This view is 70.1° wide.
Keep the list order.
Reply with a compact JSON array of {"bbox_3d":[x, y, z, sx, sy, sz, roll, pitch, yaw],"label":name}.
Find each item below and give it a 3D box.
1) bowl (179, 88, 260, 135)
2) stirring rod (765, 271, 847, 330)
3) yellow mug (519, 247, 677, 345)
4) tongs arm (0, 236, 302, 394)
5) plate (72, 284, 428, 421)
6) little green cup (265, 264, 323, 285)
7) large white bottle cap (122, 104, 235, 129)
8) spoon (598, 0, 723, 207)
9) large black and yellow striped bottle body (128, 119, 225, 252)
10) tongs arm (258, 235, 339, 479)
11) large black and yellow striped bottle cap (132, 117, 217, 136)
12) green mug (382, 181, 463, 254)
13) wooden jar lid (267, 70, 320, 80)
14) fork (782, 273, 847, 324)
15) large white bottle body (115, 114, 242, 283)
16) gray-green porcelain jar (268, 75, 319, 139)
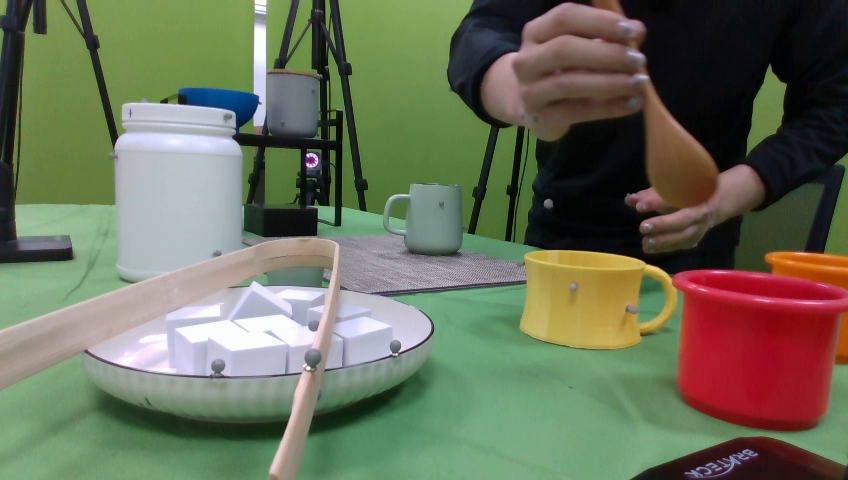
[{"bbox_3d":[-0.400,-0.248,1.188,0.151,0.077,0.151,3,6,0],"label":"bowl"},{"bbox_3d":[0.352,0.020,0.481,0.176,0.006,0.014,-40,-7,17],"label":"stirring rod"},{"bbox_3d":[0.148,0.045,0.513,0.131,0.064,0.100,3,7,0],"label":"yellow mug"},{"bbox_3d":[-0.157,0.038,0.347,0.028,0.028,0.388,-3,8,11],"label":"tongs arm"},{"bbox_3d":[-0.102,0.067,0.381,0.208,0.039,0.207,3,7,0],"label":"plate"},{"bbox_3d":[-0.134,0.033,0.628,0.061,0.038,0.061,3,7,0],"label":"little green cup"},{"bbox_3d":[-0.266,-0.135,0.663,0.115,0.018,0.115,3,7,0],"label":"large white bottle cap"},{"bbox_3d":[0.137,-0.106,0.382,0.041,0.194,0.022,-21,9,39],"label":"spoon"},{"bbox_3d":[-0.361,-0.081,0.887,0.131,0.184,0.130,2,8,0],"label":"large black and yellow striped bottle body"},{"bbox_3d":[-0.074,0.040,0.345,0.051,0.026,0.384,-2,10,-3],"label":"tongs arm"},{"bbox_3d":[-0.359,-0.164,0.875,0.115,0.019,0.115,2,6,0],"label":"large black and yellow striped bottle cap"},{"bbox_3d":[-0.001,-0.036,0.922,0.126,0.105,0.092,0,8,-16],"label":"green mug"},{"bbox_3d":[-0.275,-0.339,1.271,0.108,0.020,0.108,5,6,0],"label":"wooden jar lid"},{"bbox_3d":[0.332,0.018,0.443,0.028,0.018,0.207,-2,-35,-16],"label":"fork"},{"bbox_3d":[-0.270,-0.051,0.673,0.131,0.184,0.130,2,8,0],"label":"large white bottle body"},{"bbox_3d":[-0.277,-0.278,1.280,0.106,0.126,0.106,2,8,0],"label":"gray-green porcelain jar"}]
